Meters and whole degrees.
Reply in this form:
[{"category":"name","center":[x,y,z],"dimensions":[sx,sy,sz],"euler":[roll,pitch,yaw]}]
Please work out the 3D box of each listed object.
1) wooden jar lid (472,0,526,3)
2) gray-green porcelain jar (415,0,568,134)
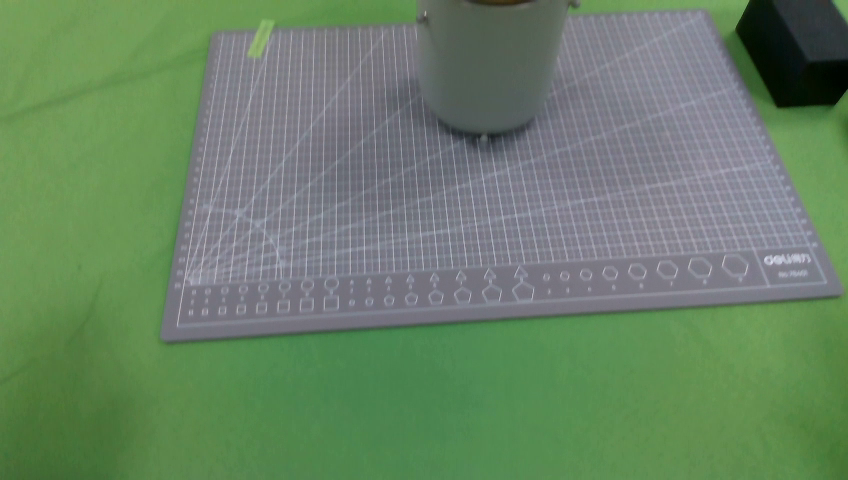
[{"category":"wooden jar lid","center":[0.045,-0.185,0.389],"dimensions":[0.108,0.021,0.107],"euler":[0,57,0]},{"category":"gray-green porcelain jar","center":[0.046,-0.151,0.444],"dimensions":[0.106,0.127,0.105],"euler":[0,58,0]}]
